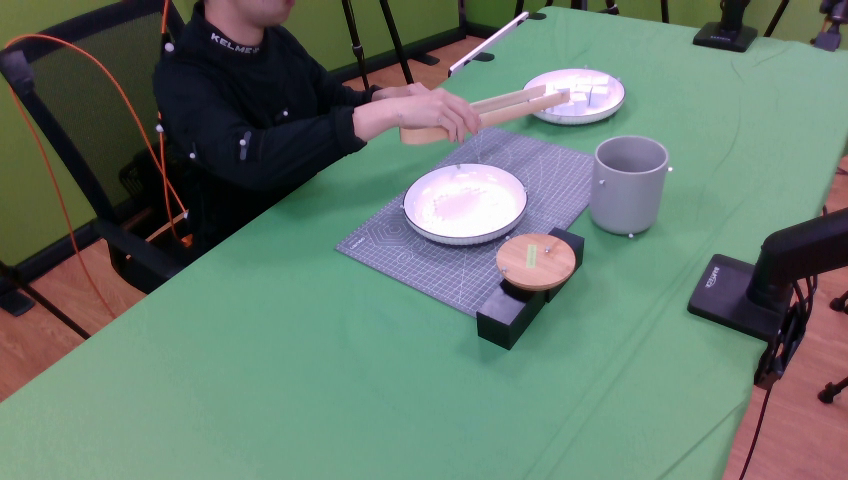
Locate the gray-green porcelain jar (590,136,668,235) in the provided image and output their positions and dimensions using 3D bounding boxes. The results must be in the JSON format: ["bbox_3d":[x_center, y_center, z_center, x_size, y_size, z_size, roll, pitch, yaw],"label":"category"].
[{"bbox_3d":[0.314,-0.080,0.937,0.106,0.127,0.105,-4,41,4],"label":"gray-green porcelain jar"}]

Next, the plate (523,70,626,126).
[{"bbox_3d":[0.308,-0.290,1.251,0.207,0.039,0.206,-4,40,4],"label":"plate"}]

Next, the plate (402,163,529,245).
[{"bbox_3d":[0.069,-0.056,1.008,0.209,0.038,0.208,-4,40,4],"label":"plate"}]

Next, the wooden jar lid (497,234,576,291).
[{"bbox_3d":[0.155,0.032,0.834,0.108,0.021,0.108,-5,40,5],"label":"wooden jar lid"}]

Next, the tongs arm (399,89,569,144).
[{"bbox_3d":[0.123,-0.231,1.107,0.387,0.026,0.050,-23,35,-33],"label":"tongs arm"}]

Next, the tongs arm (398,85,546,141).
[{"bbox_3d":[0.100,-0.244,1.134,0.390,0.028,0.028,-23,38,-33],"label":"tongs arm"}]
